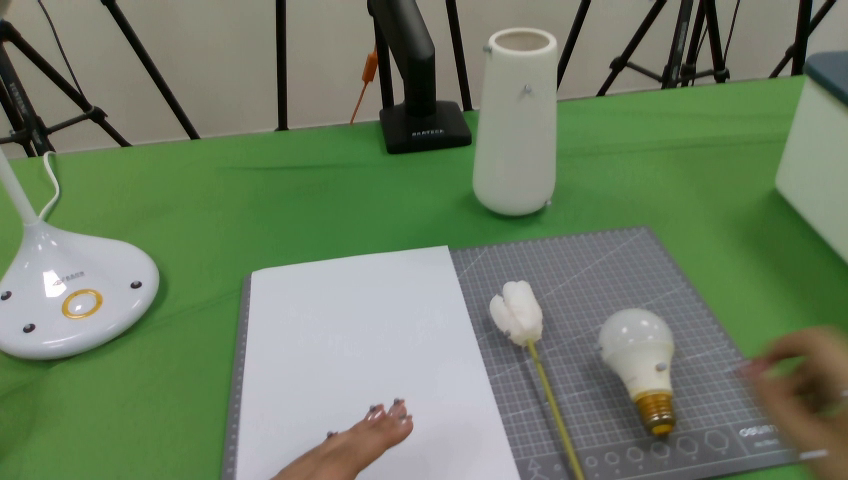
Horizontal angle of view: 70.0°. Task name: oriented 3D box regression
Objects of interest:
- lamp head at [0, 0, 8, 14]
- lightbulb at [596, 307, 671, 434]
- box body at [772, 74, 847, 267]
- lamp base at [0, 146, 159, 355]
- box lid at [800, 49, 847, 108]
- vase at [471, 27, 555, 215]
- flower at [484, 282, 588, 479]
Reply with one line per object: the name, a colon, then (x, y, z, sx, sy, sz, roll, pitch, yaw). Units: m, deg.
lamp head: (-0.320, -0.173, 0.336, 0.123, 0.112, 0.112, 49, 52, -1)
lightbulb: (0.179, 0.107, 0.502, 0.059, 0.060, 0.106, -4, 55, -2)
box body: (0.548, -0.033, 0.571, 0.254, 0.162, 0.360, -6, 40, -4)
lamp base: (-0.364, -0.011, 0.568, 0.177, 0.182, 0.160, 27, 48, 34)
box lid: (0.538, -0.088, 0.513, 0.263, 0.015, 0.367, -7, 41, -3)
vase: (0.101, -0.127, 0.676, 0.098, 0.202, 0.097, -2, 39, 2)
flower: (0.114, 0.171, 0.457, 0.044, 0.038, 0.357, -31, 44, 12)
